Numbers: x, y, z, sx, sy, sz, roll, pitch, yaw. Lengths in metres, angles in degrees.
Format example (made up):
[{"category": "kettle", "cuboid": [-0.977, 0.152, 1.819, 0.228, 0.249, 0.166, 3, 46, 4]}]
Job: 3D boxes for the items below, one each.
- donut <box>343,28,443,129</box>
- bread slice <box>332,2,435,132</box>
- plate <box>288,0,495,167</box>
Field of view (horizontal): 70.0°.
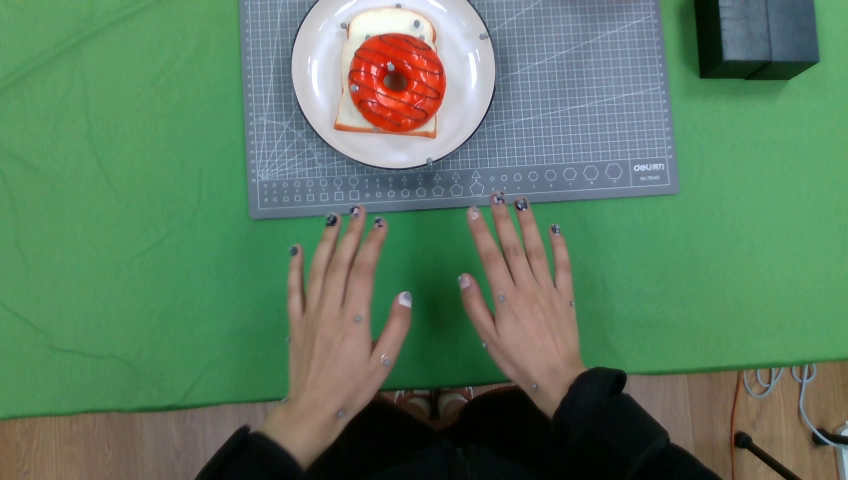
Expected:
[{"category": "donut", "cuboid": [-0.030, -0.157, 0.592, 0.099, 0.048, 0.099, 0, 89, -5]}, {"category": "bread slice", "cuboid": [-0.039, -0.180, 0.623, 0.105, 0.019, 0.131, 3, 86, -4]}, {"category": "plate", "cuboid": [-0.032, -0.175, 0.621, 0.209, 0.038, 0.208, 0, 86, -3]}]
